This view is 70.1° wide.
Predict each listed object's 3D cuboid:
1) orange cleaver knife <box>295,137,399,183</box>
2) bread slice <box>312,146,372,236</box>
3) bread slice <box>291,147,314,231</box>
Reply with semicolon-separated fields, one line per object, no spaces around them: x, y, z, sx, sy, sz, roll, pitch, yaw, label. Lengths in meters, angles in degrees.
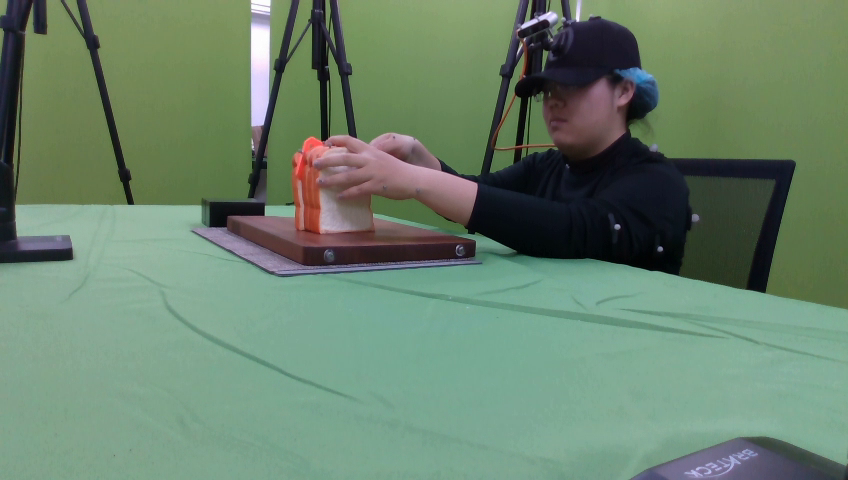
-0.120;-0.120;0.985;0.012;0.077;0.212;7;5;43;orange cleaver knife
-0.126;-0.074;0.918;0.018;0.134;0.107;5;10;44;bread slice
-0.164;-0.081;0.954;0.019;0.131;0.105;-10;-4;41;bread slice
